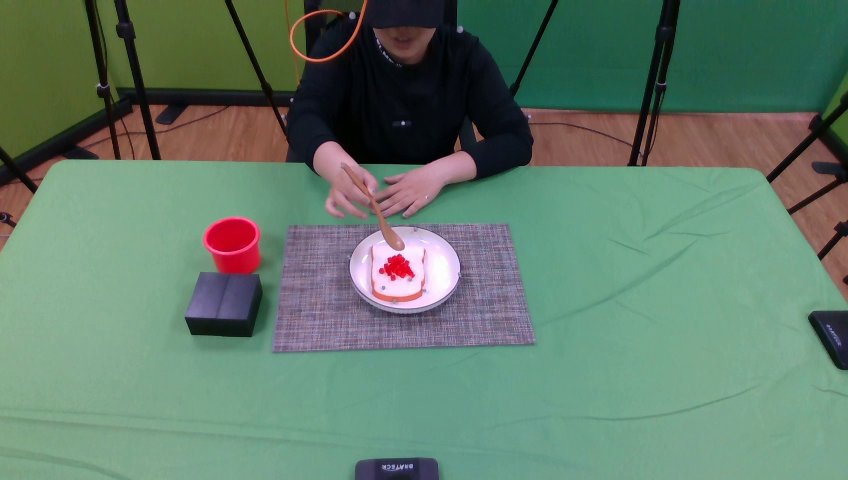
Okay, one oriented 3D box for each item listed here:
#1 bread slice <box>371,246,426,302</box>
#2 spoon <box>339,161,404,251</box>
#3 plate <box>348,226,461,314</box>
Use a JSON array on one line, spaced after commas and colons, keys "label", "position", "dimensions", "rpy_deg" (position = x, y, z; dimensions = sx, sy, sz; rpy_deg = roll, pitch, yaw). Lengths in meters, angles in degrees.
[{"label": "bread slice", "position": [-0.047, 0.060, 1.123], "dimensions": [0.105, 0.019, 0.130], "rpy_deg": [0, 45, -3]}, {"label": "spoon", "position": [-0.087, -0.057, 1.022], "dimensions": [0.021, 0.195, 0.041], "rpy_deg": [-15, 32, 24]}, {"label": "plate", "position": [-0.035, 0.058, 1.123], "dimensions": [0.209, 0.038, 0.208], "rpy_deg": [2, 46, -2]}]
